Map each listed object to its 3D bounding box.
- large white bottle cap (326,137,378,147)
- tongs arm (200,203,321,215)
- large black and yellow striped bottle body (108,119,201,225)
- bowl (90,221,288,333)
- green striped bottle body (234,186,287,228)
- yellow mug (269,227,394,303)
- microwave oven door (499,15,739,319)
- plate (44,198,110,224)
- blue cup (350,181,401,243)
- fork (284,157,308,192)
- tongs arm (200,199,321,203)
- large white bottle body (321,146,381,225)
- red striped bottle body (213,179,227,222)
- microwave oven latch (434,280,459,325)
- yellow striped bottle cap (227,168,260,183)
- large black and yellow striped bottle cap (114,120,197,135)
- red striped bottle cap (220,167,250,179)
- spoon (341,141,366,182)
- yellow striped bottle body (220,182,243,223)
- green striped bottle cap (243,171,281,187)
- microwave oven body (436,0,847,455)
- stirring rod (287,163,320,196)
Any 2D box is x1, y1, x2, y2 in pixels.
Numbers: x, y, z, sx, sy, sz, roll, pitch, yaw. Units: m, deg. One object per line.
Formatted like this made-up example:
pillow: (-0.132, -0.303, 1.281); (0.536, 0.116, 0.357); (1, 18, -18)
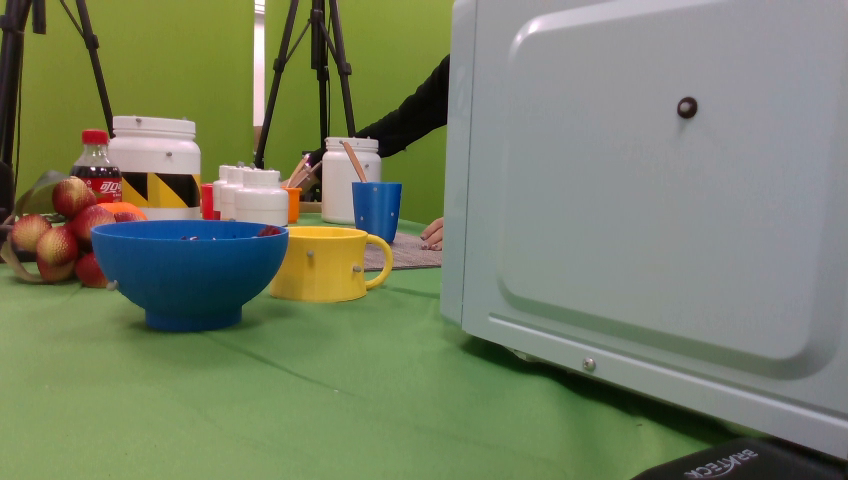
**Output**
large white bottle cap: (-0.158, -0.214, 1.329); (0.115, 0.018, 0.115); (2, 8, 0)
tongs arm: (-0.380, -0.076, 1.421); (0.387, 0.026, 0.050); (-3, 7, -43)
large black and yellow striped bottle body: (-0.412, -0.088, 0.930); (0.131, 0.184, 0.130); (3, 7, 0)
bowl: (-0.190, 0.029, 0.500); (0.151, 0.077, 0.151); (3, 7, 0)
green striped bottle body: (-0.200, -0.023, 0.743); (0.063, 0.119, 0.063); (2, 7, 0)
yellow mug: (-0.094, 0.023, 0.629); (0.131, 0.064, 0.099); (0, 7, -22)
microwave oven door: (0.216, -0.065, 0.602); (0.358, 0.243, 0.039); (-4, 11, -41)
plate: (-0.617, -0.056, 1.179); (0.209, 0.038, 0.209); (3, 7, 0)
blue cup: (-0.080, -0.047, 1.011); (0.093, 0.100, 0.092); (-1, 7, 0)
fork: (-0.295, -0.116, 1.323); (0.028, 0.019, 0.207); (1, 50, 20)
tongs arm: (-0.429, -0.085, 1.482); (0.390, 0.028, 0.028); (-1, 2, -30)
large white bottle body: (-0.161, -0.131, 1.340); (0.131, 0.184, 0.130); (2, 7, 0)
red striped bottle body: (-0.284, -0.048, 0.910); (0.063, 0.119, 0.063); (3, 12, 0)
microwave oven latch: (0.044, 0.045, 0.470); (0.079, 0.029, 0.030); (-2, 8, -39)
yellow striped bottle cap: (-0.243, -0.087, 0.818); (0.044, 0.018, 0.044); (3, 6, 0)
large black and yellow striped bottle cap: (-0.407, -0.171, 0.920); (0.115, 0.019, 0.115); (2, 9, 0)
red striped bottle cap: (-0.281, -0.100, 0.901); (0.044, 0.017, 0.044); (-1, 5, 0)
spoon: (-0.103, -0.088, 1.031); (0.042, 0.193, 0.021); (-9, -17, -38)
yellow striped bottle body: (-0.245, -0.036, 0.825); (0.063, 0.120, 0.063); (3, 8, 0)
green striped bottle cap: (-0.198, -0.074, 0.736); (0.044, 0.020, 0.044); (1, 7, 0)
microwave oven body: (0.279, -0.040, 0.465); (0.444, 0.260, 0.324); (-3, 9, -41)
stirring rod: (-0.284, -0.108, 1.297); (0.176, 0.006, 0.014); (-49, 31, -23)
